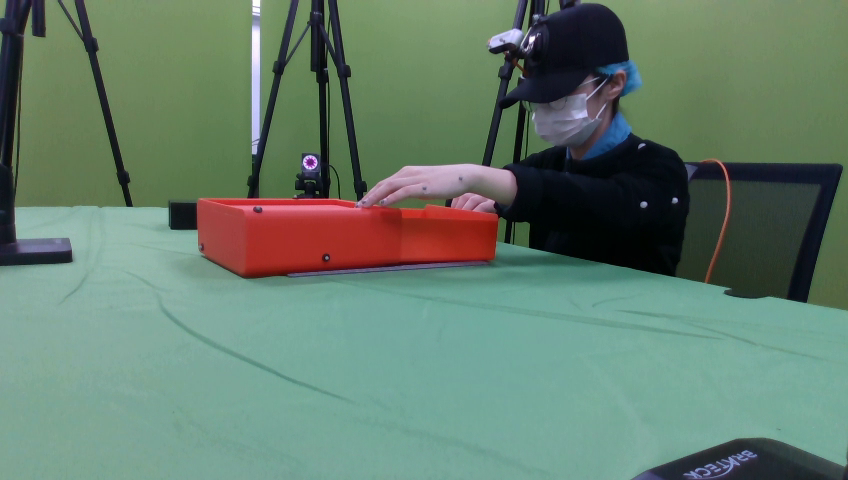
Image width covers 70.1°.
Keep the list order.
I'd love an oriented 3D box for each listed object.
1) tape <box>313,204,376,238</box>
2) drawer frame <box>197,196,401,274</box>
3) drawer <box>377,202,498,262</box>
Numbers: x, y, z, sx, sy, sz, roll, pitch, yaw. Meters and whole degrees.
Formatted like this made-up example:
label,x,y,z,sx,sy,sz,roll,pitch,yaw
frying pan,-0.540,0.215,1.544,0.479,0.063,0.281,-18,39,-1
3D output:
label,x,y,z,sx,sy,sz,roll,pitch,yaw
tape,-0.145,-0.036,1.117,0.117,0.052,0.117,3,8,0
drawer frame,-0.171,-0.015,0.819,0.215,0.082,0.200,-4,10,-35
drawer,-0.029,-0.016,0.917,0.213,0.073,0.193,-3,9,-34
